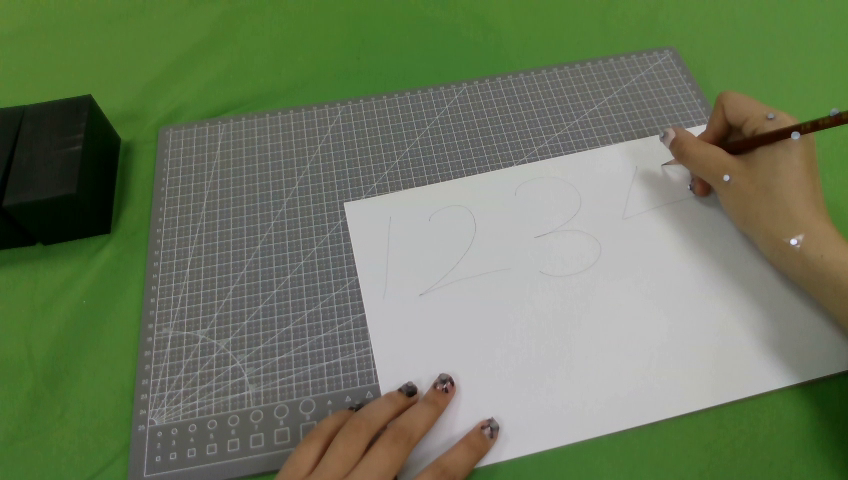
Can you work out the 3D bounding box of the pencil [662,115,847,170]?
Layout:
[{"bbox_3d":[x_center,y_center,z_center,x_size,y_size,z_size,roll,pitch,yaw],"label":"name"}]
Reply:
[{"bbox_3d":[0.221,-0.063,0.374,0.012,0.193,0.012,2,84,-23],"label":"pencil"}]
